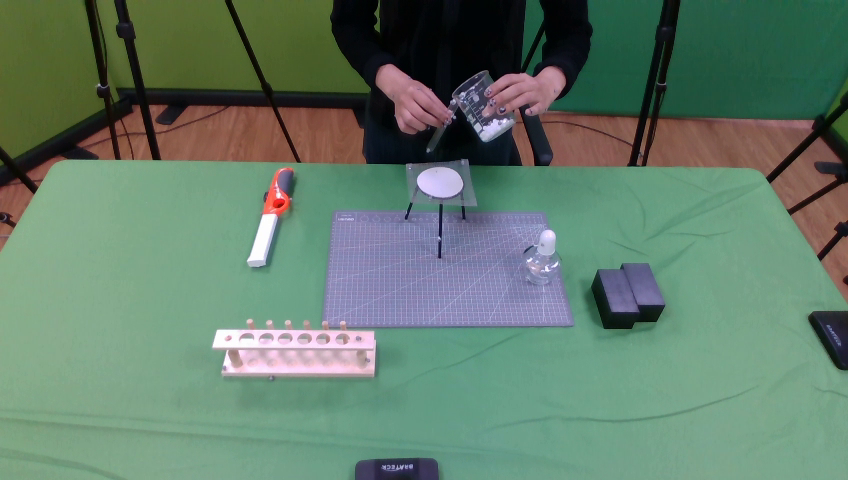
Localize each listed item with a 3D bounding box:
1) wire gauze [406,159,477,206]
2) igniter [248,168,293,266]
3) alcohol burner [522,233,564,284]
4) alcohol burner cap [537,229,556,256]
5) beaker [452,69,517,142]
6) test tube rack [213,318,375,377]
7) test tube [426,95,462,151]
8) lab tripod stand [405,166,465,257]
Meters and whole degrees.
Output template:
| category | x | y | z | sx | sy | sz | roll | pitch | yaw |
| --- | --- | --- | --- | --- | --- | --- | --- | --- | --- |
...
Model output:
| category | x | y | z | sx | sy | sz | roll | pitch | yaw |
| --- | --- | --- | --- | --- | --- | --- | --- | --- | --- |
| wire gauze | 0.031 | -0.108 | 1.129 | 0.125 | 0.011 | 0.120 | -1 | 48 | -5 |
| igniter | -0.307 | -0.055 | 1.225 | 0.057 | 0.025 | 0.275 | -3 | 45 | 6 |
| alcohol burner | 0.223 | 0.027 | 1.120 | 0.078 | 0.119 | 0.077 | 2 | 48 | -2 |
| alcohol burner cap | 0.223 | 0.001 | 1.095 | 0.034 | 0.048 | 0.033 | -1 | 44 | 1 |
| beaker | 0.103 | -0.224 | 1.027 | 0.074 | 0.084 | 0.100 | -32 | 88 | -37 |
| test tube rack | -0.202 | 0.169 | 0.977 | 0.242 | 0.085 | 0.066 | 1 | 46 | -3 |
| test tube | 0.035 | -0.212 | 1.119 | 0.017 | 0.150 | 0.017 | 10 | 58 | -17 |
| lab tripod stand | 0.030 | -0.063 | 1.180 | 0.148 | 0.132 | 0.147 | 3 | 47 | -3 |
